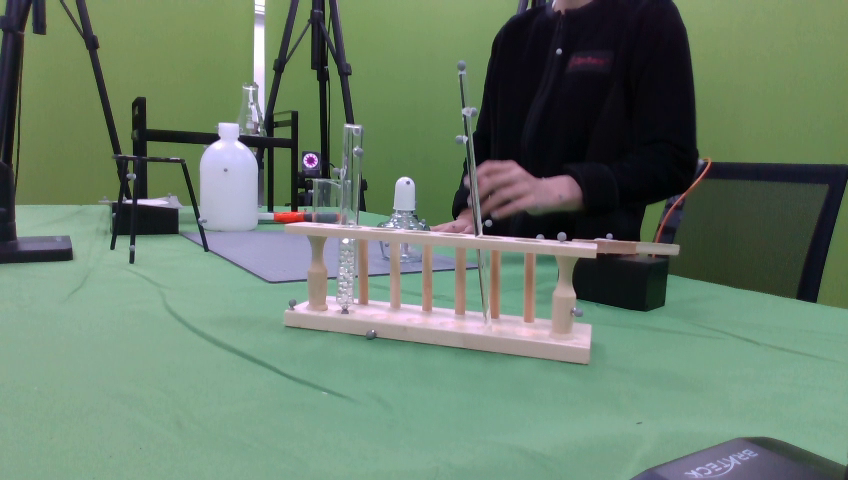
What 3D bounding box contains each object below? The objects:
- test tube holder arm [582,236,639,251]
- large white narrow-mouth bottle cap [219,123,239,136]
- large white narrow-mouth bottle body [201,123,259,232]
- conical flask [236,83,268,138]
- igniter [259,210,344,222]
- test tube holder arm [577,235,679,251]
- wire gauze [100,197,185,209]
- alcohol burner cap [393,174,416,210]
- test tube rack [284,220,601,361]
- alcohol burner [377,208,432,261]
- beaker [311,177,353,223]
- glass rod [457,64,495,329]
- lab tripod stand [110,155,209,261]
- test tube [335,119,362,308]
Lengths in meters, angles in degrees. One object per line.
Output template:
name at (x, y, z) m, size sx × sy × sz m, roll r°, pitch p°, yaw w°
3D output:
test tube holder arm at (0.194, 0.004, 0.629) m, size 0.088 × 0.015 × 0.010 m, roll 2°, pitch 13°, yaw -38°
large white narrow-mouth bottle cap at (-0.356, -0.201, 1.104) m, size 0.038 × 0.024 × 0.037 m, roll 2°, pitch 8°, yaw 0°
large white narrow-mouth bottle body at (-0.358, -0.116, 1.116) m, size 0.102 × 0.194 × 0.102 m, roll 2°, pitch 8°, yaw 0°
conical flask at (-0.400, -0.298, 1.396) m, size 0.075 × 0.122 × 0.075 m, roll 2°, pitch 8°, yaw 0°
igniter at (-0.303, -0.049, 1.258) m, size 0.278 × 0.025 × 0.057 m, roll -2°, pitch -2°, yaw -28°
test tube holder arm at (0.227, 0.004, 0.661) m, size 0.179 × 0.015 × 0.013 m, roll 1°, pitch 14°, yaw -39°
wire gauze at (-0.469, -0.062, 1.008) m, size 0.126 × 0.011 × 0.121 m, roll -2°, pitch 8°, yaw -25°
alcohol burner cap at (-0.025, -0.067, 0.833) m, size 0.034 × 0.048 × 0.034 m, roll 5°, pitch 12°, yaw -1°
test tube rack at (0.013, 0.032, 0.482) m, size 0.242 × 0.085 × 0.067 m, roll 4°, pitch 7°, yaw 16°
alcohol burner at (-0.027, -0.031, 0.838) m, size 0.078 × 0.119 × 0.078 m, roll 0°, pitch 6°, yaw 0°
beaker at (-0.167, -0.064, 1.106) m, size 0.074 × 0.100 × 0.083 m, roll -2°, pitch 9°, yaw -27°
glass rod at (0.039, -0.029, 0.449) m, size 0.008 × 0.199 × 0.008 m, roll -7°, pitch 9°, yaw 1°
lab tripod stand at (-0.361, -0.046, 0.806) m, size 0.148 × 0.131 × 0.148 m, roll 2°, pitch 5°, yaw 0°
test tube at (-0.060, -0.019, 0.475) m, size 0.017 × 0.150 × 0.017 m, roll 4°, pitch 11°, yaw 0°
